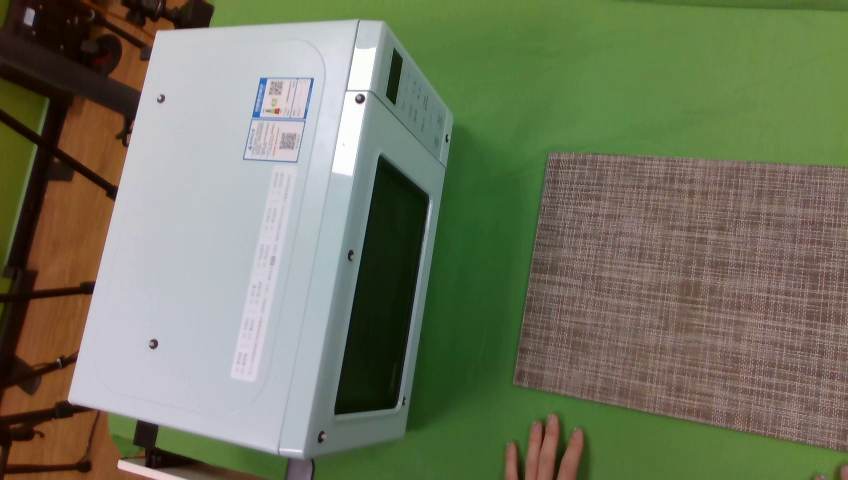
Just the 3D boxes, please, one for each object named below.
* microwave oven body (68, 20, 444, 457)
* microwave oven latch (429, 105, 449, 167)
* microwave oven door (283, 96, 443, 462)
[{"bbox_3d":[-0.182,0.002,0.743,0.324,0.262,0.440,5,81,21],"label":"microwave oven body"},{"bbox_3d":[0.015,-0.139,0.807,0.030,0.030,0.079,6,81,21],"label":"microwave oven latch"},{"bbox_3d":[-0.055,0.052,0.680,0.039,0.245,0.354,4,80,22],"label":"microwave oven door"}]
